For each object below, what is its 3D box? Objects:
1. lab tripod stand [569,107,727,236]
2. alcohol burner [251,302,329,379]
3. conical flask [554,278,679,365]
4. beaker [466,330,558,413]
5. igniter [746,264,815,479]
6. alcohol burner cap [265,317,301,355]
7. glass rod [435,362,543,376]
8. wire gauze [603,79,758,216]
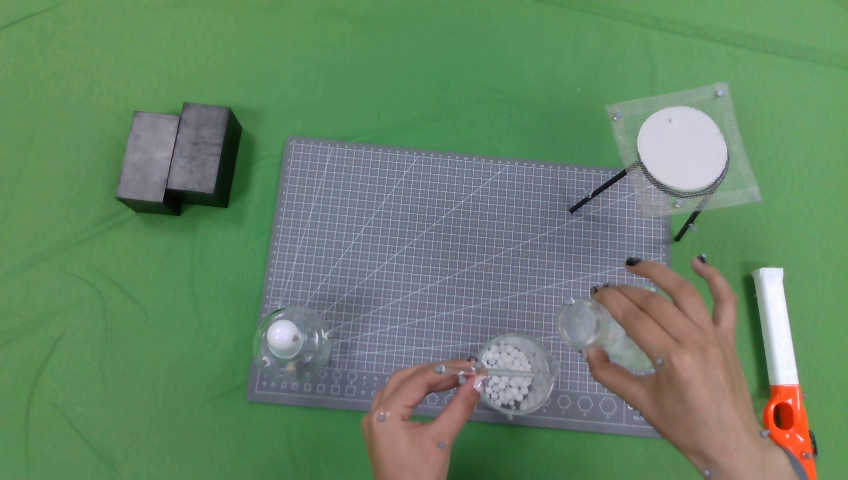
[{"bbox_3d":[0.241,-0.069,0.643,0.148,0.132,0.147,1,78,-3],"label":"lab tripod stand"},{"bbox_3d":[-0.134,0.097,0.596,0.078,0.119,0.077,1,75,-4],"label":"alcohol burner"},{"bbox_3d":[0.149,0.065,0.486,0.075,0.123,0.075,-6,80,39],"label":"conical flask"},{"bbox_3d":[0.083,0.131,0.606,0.084,0.100,0.073,-13,78,-6],"label":"beaker"},{"bbox_3d":[0.384,0.162,0.651,0.057,0.025,0.275,1,77,-13],"label":"igniter"},{"bbox_3d":[-0.132,0.087,0.562,0.034,0.048,0.033,3,69,-8],"label":"alcohol burner cap"},{"bbox_3d":[0.063,0.110,0.512,0.008,0.201,0.008,-8,74,31],"label":"glass rod"},{"bbox_3d":[0.246,-0.088,0.579,0.125,0.011,0.121,-10,79,-5],"label":"wire gauze"}]
